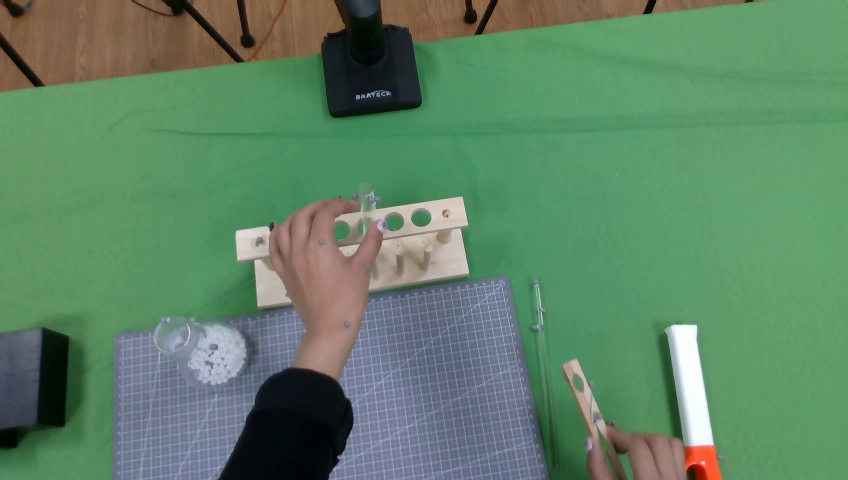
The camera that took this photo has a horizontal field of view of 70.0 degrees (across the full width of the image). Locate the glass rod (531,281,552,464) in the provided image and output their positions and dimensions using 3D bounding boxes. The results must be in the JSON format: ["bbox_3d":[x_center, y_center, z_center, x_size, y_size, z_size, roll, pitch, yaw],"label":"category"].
[{"bbox_3d":[0.130,0.142,0.668,0.008,0.008,0.198,-2,73,-1],"label":"glass rod"}]

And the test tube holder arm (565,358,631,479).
[{"bbox_3d":[0.179,0.199,0.592,0.013,0.015,0.178,-26,82,5],"label":"test tube holder arm"}]

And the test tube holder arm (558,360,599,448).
[{"bbox_3d":[0.155,0.161,0.598,0.010,0.015,0.087,-25,82,5],"label":"test tube holder arm"}]

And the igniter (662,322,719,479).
[{"bbox_3d":[0.284,0.223,0.633,0.057,0.025,0.274,3,71,-10],"label":"igniter"}]

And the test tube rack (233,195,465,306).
[{"bbox_3d":[-0.076,0.014,0.672,0.242,0.085,0.066,-9,71,-3],"label":"test tube rack"}]

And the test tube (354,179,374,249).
[{"bbox_3d":[-0.061,-0.023,0.632,0.017,0.151,0.017,1,68,-3],"label":"test tube"}]

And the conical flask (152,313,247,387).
[{"bbox_3d":[-0.233,0.106,0.616,0.075,0.122,0.075,0,71,0],"label":"conical flask"}]
